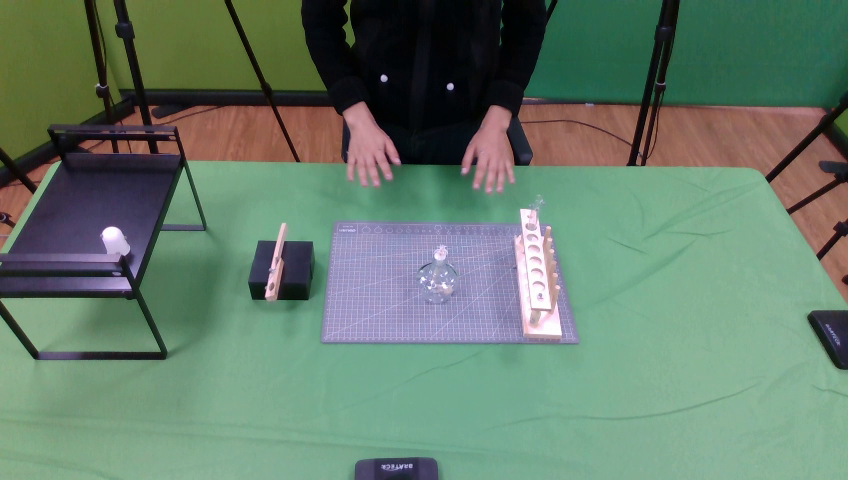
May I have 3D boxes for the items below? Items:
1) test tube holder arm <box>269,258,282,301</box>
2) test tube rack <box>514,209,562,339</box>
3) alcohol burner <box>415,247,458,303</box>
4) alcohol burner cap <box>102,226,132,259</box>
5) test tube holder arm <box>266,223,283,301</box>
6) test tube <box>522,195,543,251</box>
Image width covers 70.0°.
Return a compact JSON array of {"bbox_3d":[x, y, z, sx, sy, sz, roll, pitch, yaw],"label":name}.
[{"bbox_3d":[-0.257,0.067,1.049,0.010,0.015,0.087,-4,46,-1],"label":"test tube holder arm"},{"bbox_3d":[0.212,0.056,1.113,0.067,0.085,0.241,3,46,-1],"label":"test tube rack"},{"bbox_3d":[0.024,0.057,1.078,0.078,0.119,0.077,3,44,-3],"label":"alcohol burner"},{"bbox_3d":[-0.456,0.001,0.897,0.034,0.048,0.033,2,46,-2],"label":"alcohol burner cap"},{"bbox_3d":[-0.266,0.035,1.080,0.013,0.015,0.177,-5,46,-2],"label":"test tube holder arm"},{"bbox_3d":[0.200,-0.028,1.125,0.017,0.151,0.017,1,50,-1],"label":"test tube"}]
